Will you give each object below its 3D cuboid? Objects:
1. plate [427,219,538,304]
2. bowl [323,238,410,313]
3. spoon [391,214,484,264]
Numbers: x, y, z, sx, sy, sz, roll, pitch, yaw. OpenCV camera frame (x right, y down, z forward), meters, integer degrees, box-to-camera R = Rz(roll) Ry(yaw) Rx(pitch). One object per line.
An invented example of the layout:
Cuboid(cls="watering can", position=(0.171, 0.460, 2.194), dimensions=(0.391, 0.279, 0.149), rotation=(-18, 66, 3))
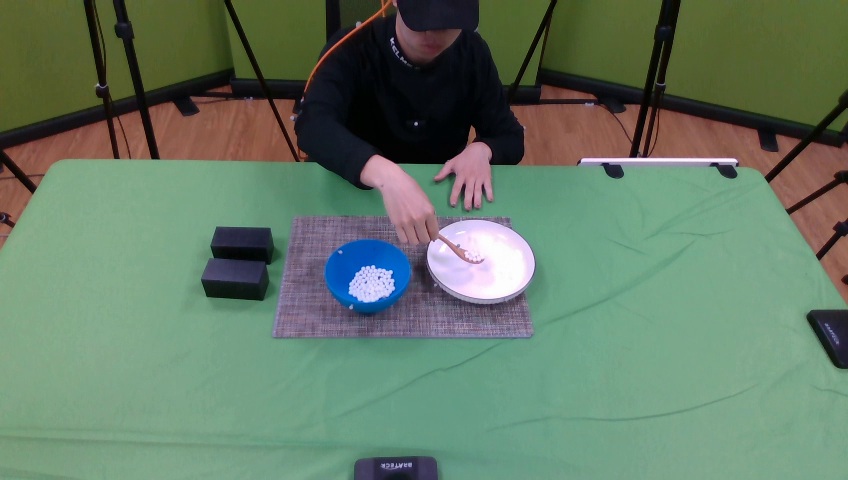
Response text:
Cuboid(cls="plate", position=(0.109, 0.044, 1.149), dimensions=(0.208, 0.039, 0.206), rotation=(2, 46, -2))
Cuboid(cls="bowl", position=(-0.101, 0.077, 1.073), dimensions=(0.151, 0.077, 0.150), rotation=(2, 46, -2))
Cuboid(cls="spoon", position=(0.026, -0.004, 1.104), dimensions=(0.194, 0.021, 0.041), rotation=(30, 29, -17))
